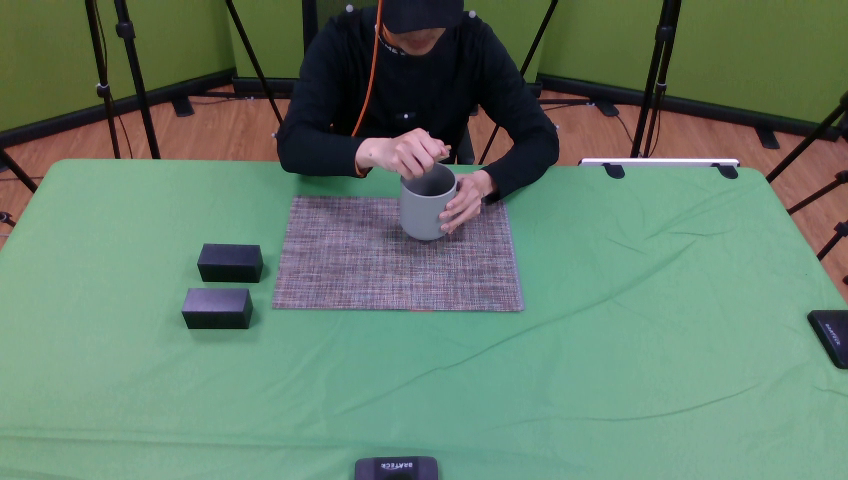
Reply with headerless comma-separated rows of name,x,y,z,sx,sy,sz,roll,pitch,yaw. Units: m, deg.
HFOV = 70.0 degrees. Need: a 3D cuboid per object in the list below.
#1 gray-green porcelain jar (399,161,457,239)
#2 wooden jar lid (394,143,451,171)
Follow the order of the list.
gray-green porcelain jar,0.006,-0.072,1.157,0.106,0.127,0.105,2,47,-1
wooden jar lid,-0.001,-0.148,1.092,0.108,0.108,0.020,-21,91,-22
